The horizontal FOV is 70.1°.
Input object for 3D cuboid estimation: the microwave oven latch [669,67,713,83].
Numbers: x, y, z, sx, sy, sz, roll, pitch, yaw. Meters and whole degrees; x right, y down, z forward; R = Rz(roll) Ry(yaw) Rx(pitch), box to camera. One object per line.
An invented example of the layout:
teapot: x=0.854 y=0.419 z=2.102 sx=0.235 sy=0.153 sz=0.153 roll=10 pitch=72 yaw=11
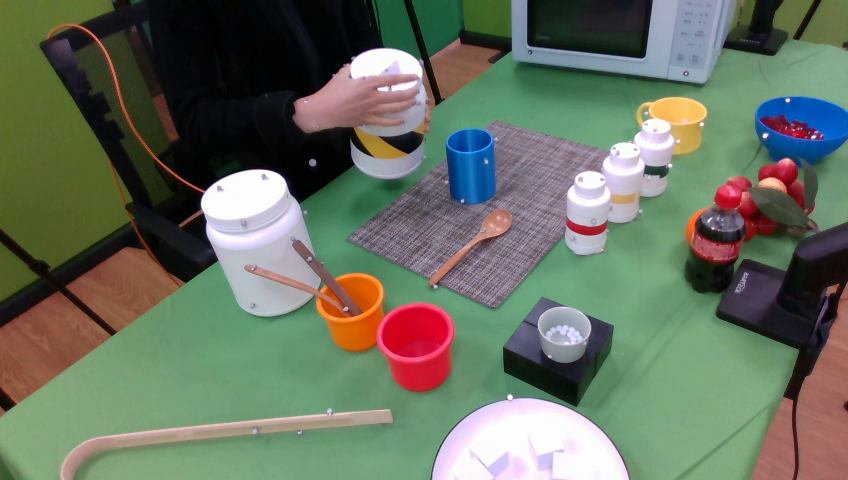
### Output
microwave oven latch: x=0.556 y=-0.349 z=1.261 sx=0.078 sy=0.029 sz=0.030 roll=16 pitch=46 yaw=27

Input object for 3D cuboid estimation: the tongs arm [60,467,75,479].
tongs arm: x=-0.239 y=0.301 z=0.648 sx=0.386 sy=0.028 sz=0.028 roll=6 pitch=49 yaw=16

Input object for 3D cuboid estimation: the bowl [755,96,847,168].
bowl: x=0.645 y=-0.177 z=1.041 sx=0.151 sy=0.077 sz=0.150 roll=-5 pitch=40 yaw=4

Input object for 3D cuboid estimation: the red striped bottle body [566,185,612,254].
red striped bottle body: x=0.248 y=-0.041 z=0.910 sx=0.063 sy=0.120 sz=0.062 roll=-4 pitch=41 yaw=4

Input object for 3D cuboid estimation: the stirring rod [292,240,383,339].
stirring rod: x=-0.118 y=0.068 z=0.826 sx=0.176 sy=0.006 sz=0.014 roll=49 pitch=59 yaw=-4

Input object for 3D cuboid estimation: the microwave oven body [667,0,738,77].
microwave oven body: x=0.462 y=-0.552 z=1.369 sx=0.439 sy=0.261 sz=0.326 roll=15 pitch=45 yaw=26

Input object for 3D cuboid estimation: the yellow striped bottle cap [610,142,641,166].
yellow striped bottle cap: x=0.308 y=-0.131 z=0.925 sx=0.044 sy=0.019 sz=0.044 roll=-4 pitch=45 yaw=5

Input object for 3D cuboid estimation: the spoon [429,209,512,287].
spoon: x=0.072 y=0.012 z=0.945 sx=0.041 sy=0.021 sz=0.194 roll=41 pitch=57 yaw=17

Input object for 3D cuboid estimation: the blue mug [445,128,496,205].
blue mug: x=0.082 y=-0.137 z=1.056 sx=0.082 sy=0.106 sz=0.116 roll=-4 pitch=40 yaw=4

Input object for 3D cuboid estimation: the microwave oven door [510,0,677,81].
microwave oven door: x=0.354 y=-0.478 z=1.290 sx=0.353 sy=0.245 sz=0.039 roll=15 pitch=45 yaw=25

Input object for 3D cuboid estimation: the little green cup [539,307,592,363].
little green cup: x=0.168 y=0.115 z=0.721 sx=0.061 sy=0.039 sz=0.061 roll=-4 pitch=42 yaw=4

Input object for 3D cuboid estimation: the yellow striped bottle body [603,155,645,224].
yellow striped bottle body: x=0.314 y=-0.090 z=0.957 sx=0.063 sy=0.121 sz=0.062 roll=-4 pitch=40 yaw=4

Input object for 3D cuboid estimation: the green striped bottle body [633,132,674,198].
green striped bottle body: x=0.376 y=-0.135 z=1.001 sx=0.063 sy=0.120 sz=0.063 roll=-5 pitch=41 yaw=5

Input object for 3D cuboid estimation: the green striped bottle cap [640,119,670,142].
green striped bottle cap: x=0.371 y=-0.175 z=0.968 sx=0.044 sy=0.020 sz=0.044 roll=-4 pitch=42 yaw=4

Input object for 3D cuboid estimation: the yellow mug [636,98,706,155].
yellow mug: x=0.453 y=-0.217 z=1.128 sx=0.100 sy=0.064 sz=0.129 roll=-34 pitch=46 yaw=-27

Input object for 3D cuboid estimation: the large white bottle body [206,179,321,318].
large white bottle body: x=-0.233 y=0.007 z=0.876 sx=0.130 sy=0.185 sz=0.130 roll=-5 pitch=40 yaw=4

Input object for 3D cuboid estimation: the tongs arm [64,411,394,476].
tongs arm: x=-0.228 y=0.241 z=0.715 sx=0.385 sy=0.026 sz=0.050 roll=-5 pitch=43 yaw=4

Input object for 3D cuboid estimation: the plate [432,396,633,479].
plate: x=0.112 y=0.261 z=0.634 sx=0.209 sy=0.038 sz=0.208 roll=-5 pitch=40 yaw=4

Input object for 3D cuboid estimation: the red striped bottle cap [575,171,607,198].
red striped bottle cap: x=0.242 y=-0.081 z=0.876 sx=0.044 sy=0.018 sz=0.044 roll=-5 pitch=44 yaw=5

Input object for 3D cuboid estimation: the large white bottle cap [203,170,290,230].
large white bottle cap: x=-0.241 y=-0.057 z=0.822 sx=0.115 sy=0.018 sz=0.114 roll=-4 pitch=41 yaw=4

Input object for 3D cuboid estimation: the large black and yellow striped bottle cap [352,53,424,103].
large black and yellow striped bottle cap: x=-0.057 y=-0.259 z=0.958 sx=0.115 sy=0.019 sz=0.114 roll=2 pitch=49 yaw=-2

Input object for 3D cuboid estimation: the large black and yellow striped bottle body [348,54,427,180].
large black and yellow striped bottle body: x=-0.061 y=-0.207 z=1.025 sx=0.131 sy=0.184 sz=0.130 roll=2 pitch=52 yaw=-2

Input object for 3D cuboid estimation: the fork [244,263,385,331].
fork: x=-0.141 y=0.077 z=0.807 sx=0.209 sy=0.018 sz=0.028 roll=30 pitch=44 yaw=-24
